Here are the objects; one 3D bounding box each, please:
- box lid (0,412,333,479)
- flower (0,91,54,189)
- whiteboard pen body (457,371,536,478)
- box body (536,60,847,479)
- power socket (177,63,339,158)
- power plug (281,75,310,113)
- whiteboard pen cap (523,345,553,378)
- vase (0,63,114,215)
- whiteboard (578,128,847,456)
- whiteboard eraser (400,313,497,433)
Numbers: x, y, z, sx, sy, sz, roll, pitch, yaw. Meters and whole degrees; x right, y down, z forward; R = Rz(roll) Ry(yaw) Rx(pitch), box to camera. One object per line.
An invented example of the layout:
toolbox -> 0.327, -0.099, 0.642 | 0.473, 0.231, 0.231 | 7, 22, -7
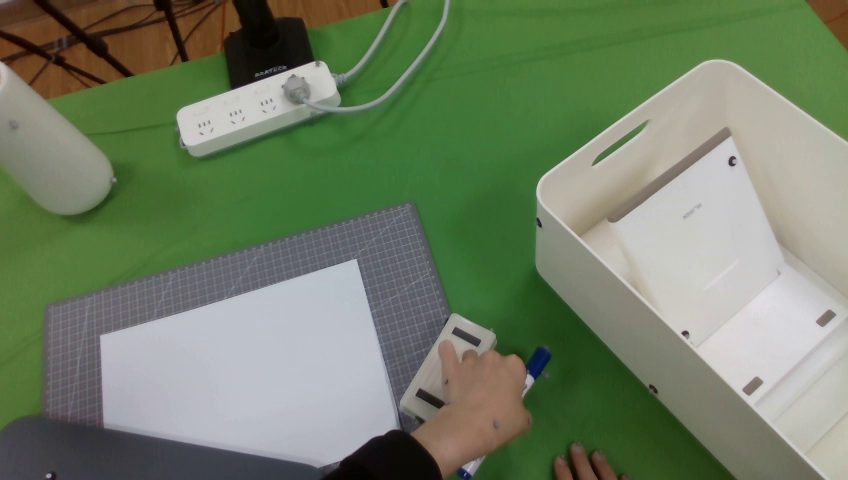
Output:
box lid -> -0.286, 0.315, 0.567 | 0.371, 0.015, 0.261 | 7, 63, 8
flower -> -0.438, -0.150, 0.628 | 0.038, 0.363, 0.044 | 32, 59, 2
whiteboard pen body -> 0.076, 0.163, 0.575 | 0.017, 0.017, 0.140 | 32, 69, 21
box body -> 0.306, 0.040, 0.572 | 0.254, 0.162, 0.361 | -36, 64, -13
power socket -> -0.220, -0.174, 0.809 | 0.227, 0.033, 0.071 | -21, 63, -7
power plug -> -0.164, -0.179, 0.781 | 0.035, 0.053, 0.072 | -12, 68, -1
whiteboard pen cap -> 0.111, 0.121, 0.597 | 0.018, 0.018, 0.033 | 31, 69, 20
vase -> -0.452, -0.112, 0.703 | 0.098, 0.202, 0.097 | -3, 61, 6
whiteboard -> 0.302, 0.035, 0.587 | 0.217, 0.145, 0.302 | -35, 64, -16
whiteboard eraser -> 0.026, 0.133, 0.614 | 0.055, 0.042, 0.112 | 25, 67, 18
